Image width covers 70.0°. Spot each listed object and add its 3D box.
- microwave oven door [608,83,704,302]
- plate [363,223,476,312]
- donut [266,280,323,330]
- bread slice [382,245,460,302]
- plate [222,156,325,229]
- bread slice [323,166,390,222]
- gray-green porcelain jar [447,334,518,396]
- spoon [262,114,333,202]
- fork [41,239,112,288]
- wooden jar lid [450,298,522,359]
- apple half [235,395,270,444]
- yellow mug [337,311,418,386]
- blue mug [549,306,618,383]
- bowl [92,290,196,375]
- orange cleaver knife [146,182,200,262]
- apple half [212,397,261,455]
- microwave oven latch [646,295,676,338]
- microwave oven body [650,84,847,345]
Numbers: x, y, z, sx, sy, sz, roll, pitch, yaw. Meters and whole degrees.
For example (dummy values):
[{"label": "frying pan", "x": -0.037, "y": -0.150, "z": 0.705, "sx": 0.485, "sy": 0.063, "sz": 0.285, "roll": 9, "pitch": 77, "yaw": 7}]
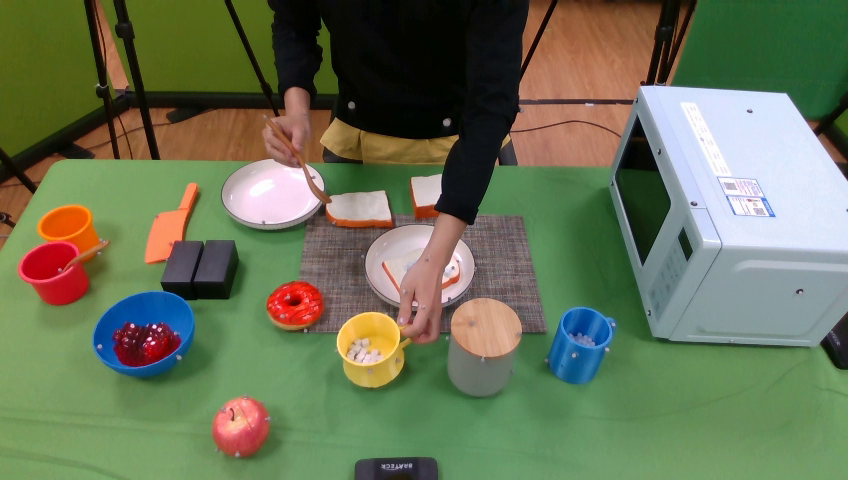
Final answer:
[{"label": "microwave oven door", "x": 0.425, "y": -0.096, "z": 1.138, "sx": 0.039, "sy": 0.245, "sz": 0.353, "roll": 2, "pitch": 47, "yaw": -1}, {"label": "plate", "x": -0.009, "y": 0.054, "z": 1.126, "sx": 0.208, "sy": 0.039, "sz": 0.206, "roll": 2, "pitch": 46, "yaw": -2}, {"label": "donut", "x": -0.223, "y": 0.113, "z": 1.051, "sx": 0.099, "sy": 0.048, "sz": 0.098, "roll": 2, "pitch": 46, "yaw": -2}, {"label": "bread slice", "x": 0.000, "y": 0.054, "z": 1.128, "sx": 0.132, "sy": 0.019, "sz": 0.104, "roll": -19, "pitch": 52, "yaw": -21}, {"label": "plate", "x": -0.308, "y": -0.094, "z": 1.251, "sx": 0.209, "sy": 0.038, "sz": 0.208, "roll": 2, "pitch": 47, "yaw": -2}, {"label": "bread slice", "x": -0.140, "y": -0.092, "z": 1.224, "sx": 0.134, "sy": 0.018, "sz": 0.106, "roll": -19, "pitch": 51, "yaw": 6}, {"label": "gray-green porcelain jar", "x": 0.091, "y": 0.178, "z": 0.960, "sx": 0.106, "sy": 0.127, "sz": 0.105, "roll": 2, "pitch": 47, "yaw": -2}, {"label": "spoon", "x": -0.219, "y": -0.141, "z": 1.057, "sx": 0.021, "sy": 0.195, "sz": 0.041, "roll": -29, "pitch": 28, "yaw": 3}, {"label": "fork", "x": -0.591, "y": 0.040, "z": 1.028, "sx": 0.207, "sy": 0.019, "sz": 0.028, "roll": -27, "pitch": 37, "yaw": 29}, {"label": "wooden jar lid", "x": 0.093, "y": 0.135, "z": 0.914, "sx": 0.108, "sy": 0.021, "sz": 0.107, "roll": 2, "pitch": 49, "yaw": -3}, {"label": "apple half", "x": -0.245, "y": 0.259, "z": 0.893, "sx": 0.033, "sy": 0.082, "sz": 0.081, "roll": -29, "pitch": 55, "yaw": -21}, {"label": "yellow mug", "x": -0.069, "y": 0.165, "z": 0.961, "sx": 0.131, "sy": 0.064, "sz": 0.099, "roll": -22, "pitch": 48, "yaw": -15}, {"label": "blue mug", "x": 0.269, "y": 0.167, "z": 0.997, "sx": 0.116, "sy": 0.106, "sz": 0.082, "roll": -19, "pitch": 51, "yaw": -21}, {"label": "bowl", "x": -0.436, "y": 0.161, "z": 0.971, "sx": 0.151, "sy": 0.077, "sz": 0.150, "roll": 2, "pitch": 46, "yaw": -2}, {"label": "orange cleaver knife", "x": -0.494, "y": -0.039, "z": 1.199, "sx": 0.077, "sy": 0.012, "sz": 0.210, "roll": -3, "pitch": 48, "yaw": 2}, {"label": "apple half", "x": -0.276, "y": 0.276, "z": 0.877, "sx": 0.053, "sy": 0.075, "sz": 0.080, "roll": -29, "pitch": 58, "yaw": -21}, {"label": "microwave oven latch", "x": 0.413, "y": 0.133, "z": 1.060, "sx": 0.030, "sy": 0.029, "sz": 0.078, "roll": 4, "pitch": 46, "yaw": 1}, {"label": "microwave oven body", "x": 0.569, "y": -0.054, "z": 1.116, "sx": 0.326, "sy": 0.261, "sz": 0.439, "roll": 2, "pitch": 46, "yaw": -1}]
